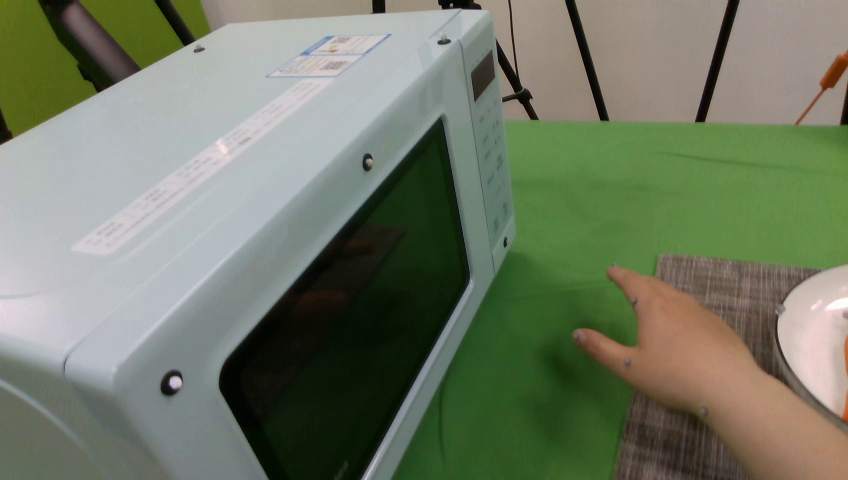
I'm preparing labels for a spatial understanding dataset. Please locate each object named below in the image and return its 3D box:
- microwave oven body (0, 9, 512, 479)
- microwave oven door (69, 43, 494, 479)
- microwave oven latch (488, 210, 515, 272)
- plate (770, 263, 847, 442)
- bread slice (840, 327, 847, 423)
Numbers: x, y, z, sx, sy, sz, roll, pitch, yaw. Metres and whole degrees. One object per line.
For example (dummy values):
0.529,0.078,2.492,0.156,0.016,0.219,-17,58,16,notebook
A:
-0.150,0.010,0.511,0.324,0.263,0.439,7,39,25,microwave oven body
-0.037,0.044,0.417,0.039,0.246,0.354,6,38,25,microwave oven door
0.072,0.000,0.630,0.030,0.030,0.079,8,40,25,microwave oven latch
0.363,0.091,0.433,0.209,0.038,0.207,-8,34,6,plate
0.360,0.093,0.435,0.104,0.019,0.131,8,40,27,bread slice
